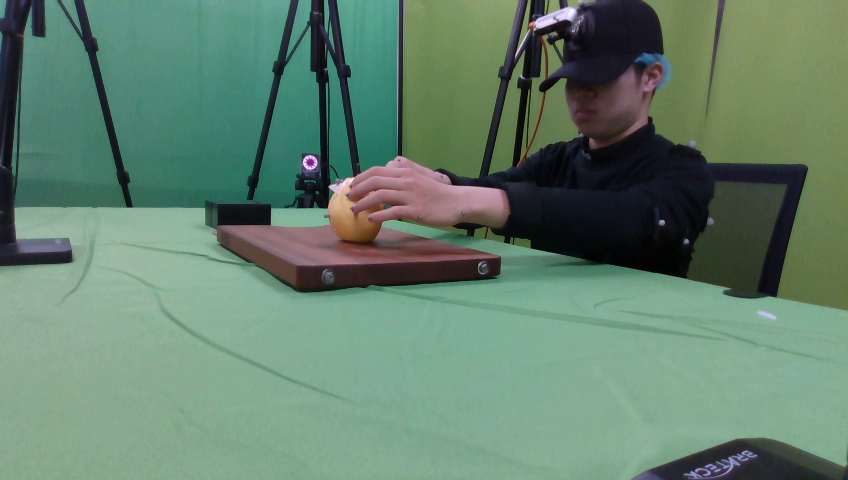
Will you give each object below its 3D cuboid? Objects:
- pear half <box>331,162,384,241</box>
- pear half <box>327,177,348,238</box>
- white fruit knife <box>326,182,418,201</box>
[{"bbox_3d":[-0.086,-0.053,0.838,0.055,0.110,0.077,8,15,35],"label":"pear half"},{"bbox_3d":[-0.116,-0.046,0.864,0.031,0.088,0.071,2,10,34],"label":"pear half"},{"bbox_3d":[-0.071,-0.074,0.896,0.016,0.027,0.208,6,5,34],"label":"white fruit knife"}]
